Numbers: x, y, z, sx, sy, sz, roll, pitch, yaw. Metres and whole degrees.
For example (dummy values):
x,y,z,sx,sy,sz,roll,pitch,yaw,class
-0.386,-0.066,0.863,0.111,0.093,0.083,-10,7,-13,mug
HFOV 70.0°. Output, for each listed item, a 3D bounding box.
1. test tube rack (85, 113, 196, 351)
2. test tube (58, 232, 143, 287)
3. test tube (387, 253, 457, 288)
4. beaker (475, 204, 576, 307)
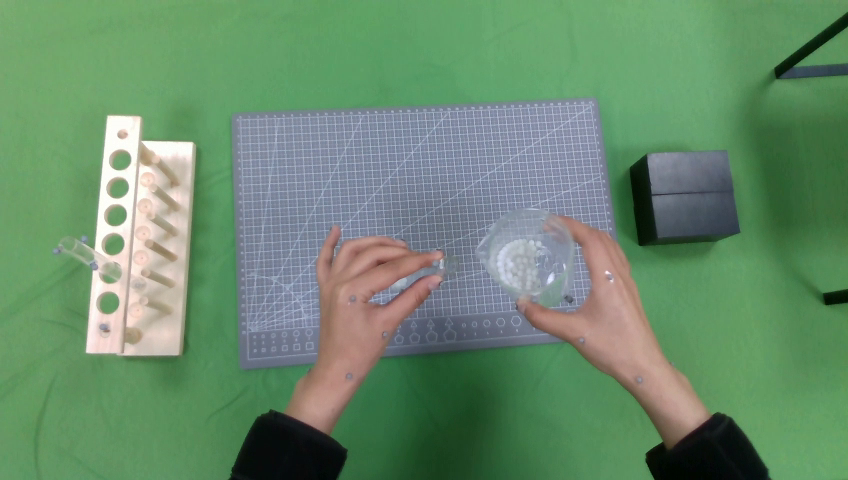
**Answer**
x,y,z,sx,sy,sz,roll,pitch,yaw,class
-0.297,-0.005,0.647,0.067,0.085,0.241,1,80,-5,test tube rack
-0.310,0.022,0.590,0.017,0.151,0.017,1,72,-2,test tube
-0.006,0.031,0.571,0.017,0.150,0.017,4,78,-21,test tube
0.094,0.019,0.543,0.084,0.101,0.073,0,74,15,beaker
